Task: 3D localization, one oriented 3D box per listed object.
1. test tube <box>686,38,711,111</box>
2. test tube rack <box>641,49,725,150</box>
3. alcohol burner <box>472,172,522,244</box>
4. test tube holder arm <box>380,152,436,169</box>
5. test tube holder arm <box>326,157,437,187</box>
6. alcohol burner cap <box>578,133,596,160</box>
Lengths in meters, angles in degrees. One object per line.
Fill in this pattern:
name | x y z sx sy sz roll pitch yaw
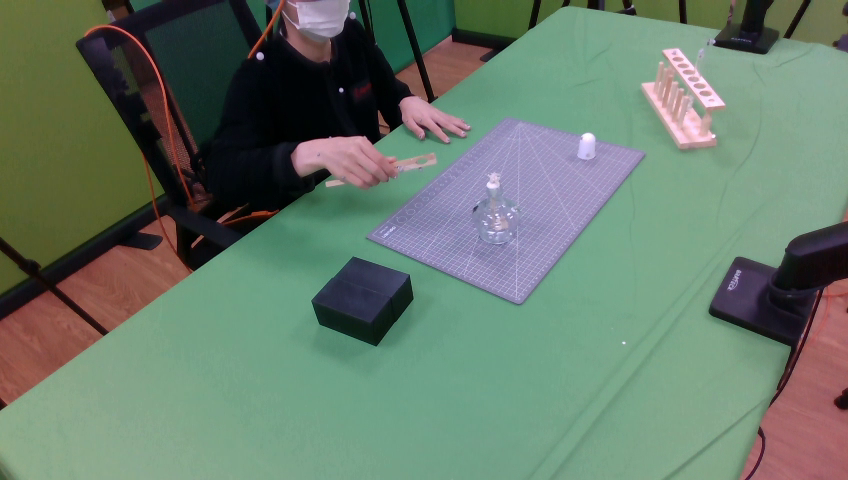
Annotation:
test tube | 0.508 -0.305 1.128 0.017 0.151 0.017 -2 46 3
test tube rack | 0.495 -0.279 1.175 0.067 0.085 0.241 -5 41 3
alcohol burner | 0.112 -0.053 0.942 0.078 0.119 0.077 -6 40 5
test tube holder arm | -0.025 -0.121 0.931 0.088 0.010 0.015 -12 7 8
test tube holder arm | -0.067 -0.105 0.938 0.178 0.013 0.015 -14 7 8
alcohol burner cap | 0.301 -0.174 1.111 0.034 0.048 0.033 -4 41 4
